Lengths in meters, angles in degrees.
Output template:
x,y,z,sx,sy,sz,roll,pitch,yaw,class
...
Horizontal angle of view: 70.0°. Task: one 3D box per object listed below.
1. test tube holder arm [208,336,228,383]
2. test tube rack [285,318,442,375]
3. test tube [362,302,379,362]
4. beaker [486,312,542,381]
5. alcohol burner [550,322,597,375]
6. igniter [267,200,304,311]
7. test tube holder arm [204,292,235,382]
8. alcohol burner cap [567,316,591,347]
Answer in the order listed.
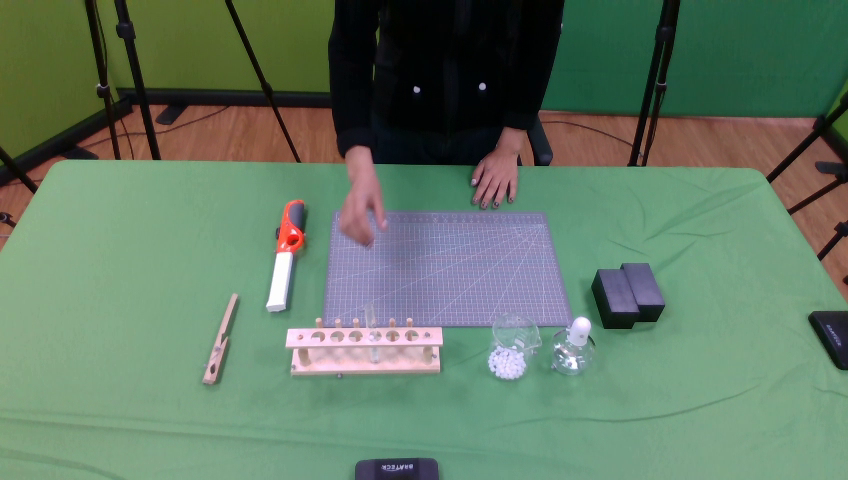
x,y,z,sx,sy,sz,roll,pitch,yaw,class
-0.338,0.193,0.991,0.010,0.015,0.087,28,39,-25,test tube holder arm
-0.095,0.168,0.986,0.242,0.085,0.066,0,46,-4,test tube rack
-0.081,0.146,0.939,0.017,0.151,0.017,0,48,1,test tube
0.144,0.177,0.985,0.084,0.101,0.074,22,49,16,beaker
0.248,0.168,0.991,0.078,0.119,0.077,2,48,-2,alcohol burner
-0.263,0.020,1.156,0.057,0.025,0.274,-6,46,4,igniter
-0.343,0.159,1.020,0.013,0.015,0.177,27,39,-26,test tube holder arm
0.249,0.143,0.965,0.034,0.048,0.033,4,40,-3,alcohol burner cap
